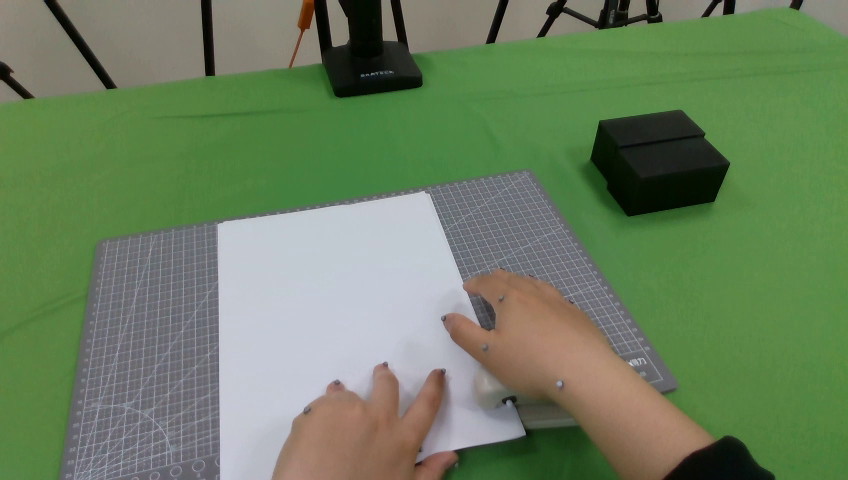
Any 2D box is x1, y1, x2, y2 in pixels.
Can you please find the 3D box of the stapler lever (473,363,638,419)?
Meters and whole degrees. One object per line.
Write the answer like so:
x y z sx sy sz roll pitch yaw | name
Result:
0.094 0.108 0.442 0.118 0.040 0.026 -12 45 3 | stapler lever

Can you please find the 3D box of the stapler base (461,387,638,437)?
0.094 0.118 0.450 0.131 0.024 0.041 -3 45 -6 | stapler base
